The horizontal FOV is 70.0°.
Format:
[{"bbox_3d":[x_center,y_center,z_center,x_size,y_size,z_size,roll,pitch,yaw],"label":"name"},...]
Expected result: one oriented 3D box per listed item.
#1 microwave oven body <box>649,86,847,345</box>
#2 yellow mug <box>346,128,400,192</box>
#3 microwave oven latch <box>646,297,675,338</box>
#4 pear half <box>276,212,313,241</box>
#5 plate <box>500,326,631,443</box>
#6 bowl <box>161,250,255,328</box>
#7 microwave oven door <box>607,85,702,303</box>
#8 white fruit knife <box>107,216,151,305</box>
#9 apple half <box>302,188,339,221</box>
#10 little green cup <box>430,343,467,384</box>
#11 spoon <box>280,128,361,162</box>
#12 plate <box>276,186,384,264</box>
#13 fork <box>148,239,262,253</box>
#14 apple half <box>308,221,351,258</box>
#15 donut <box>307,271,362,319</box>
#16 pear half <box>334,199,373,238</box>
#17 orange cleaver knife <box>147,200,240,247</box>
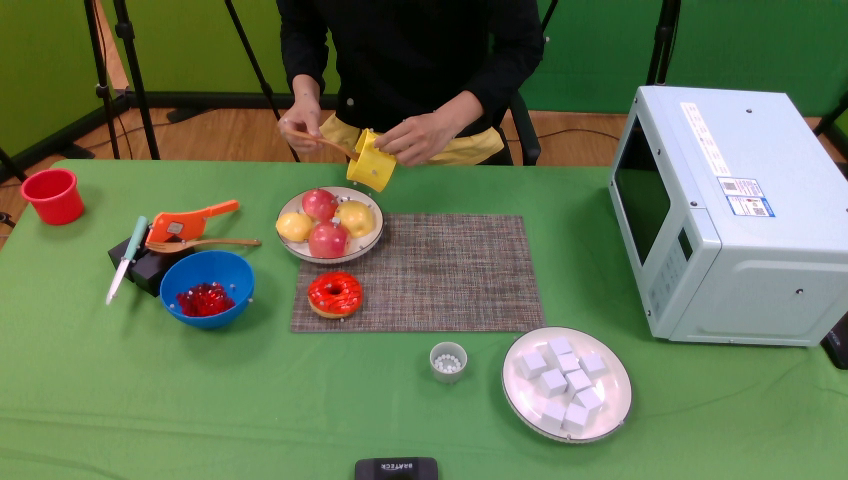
[{"bbox_3d":[0.568,-0.053,1.118,0.326,0.261,0.439,2,45,-1],"label":"microwave oven body"},{"bbox_3d":[-0.088,-0.150,1.088,0.064,0.131,0.099,21,65,-18],"label":"yellow mug"},{"bbox_3d":[0.412,0.134,1.061,0.030,0.029,0.078,4,45,1],"label":"microwave oven latch"},{"bbox_3d":[-0.244,-0.035,1.178,0.070,0.031,0.088,40,42,1],"label":"pear half"},{"bbox_3d":[0.224,0.234,0.978,0.208,0.039,0.206,2,46,-2],"label":"plate"},{"bbox_3d":[-0.362,0.097,1.040,0.151,0.077,0.150,2,45,-2],"label":"bowl"},{"bbox_3d":[0.423,-0.094,1.140,0.039,0.245,0.353,2,46,-1],"label":"microwave oven door"},{"bbox_3d":[-0.518,0.032,1.066,0.027,0.016,0.206,-19,45,19],"label":"white fruit knife"},{"bbox_3d":[-0.205,-0.076,1.217,0.081,0.033,0.081,18,46,-19],"label":"apple half"},{"bbox_3d":[0.039,0.203,0.993,0.061,0.039,0.061,2,46,-2],"label":"little green cup"},{"bbox_3d":[-0.165,-0.169,1.089,0.194,0.022,0.041,19,31,-29],"label":"spoon"},{"bbox_3d":[-0.184,-0.027,1.195,0.209,0.038,0.208,2,46,-2],"label":"plate"},{"bbox_3d":[-0.398,0.008,1.117,0.208,0.019,0.028,-5,34,-37],"label":"fork"},{"bbox_3d":[-0.180,-0.005,1.150,0.074,0.053,0.080,14,43,8],"label":"apple half"},{"bbox_3d":[-0.157,0.097,1.072,0.099,0.048,0.098,4,45,-4],"label":"donut"},{"bbox_3d":[-0.147,-0.059,1.210,0.076,0.056,0.109,-17,44,-24],"label":"pear half"},{"bbox_3d":[-0.435,-0.033,1.157,0.012,0.077,0.211,31,26,18],"label":"orange cleaver knife"}]
